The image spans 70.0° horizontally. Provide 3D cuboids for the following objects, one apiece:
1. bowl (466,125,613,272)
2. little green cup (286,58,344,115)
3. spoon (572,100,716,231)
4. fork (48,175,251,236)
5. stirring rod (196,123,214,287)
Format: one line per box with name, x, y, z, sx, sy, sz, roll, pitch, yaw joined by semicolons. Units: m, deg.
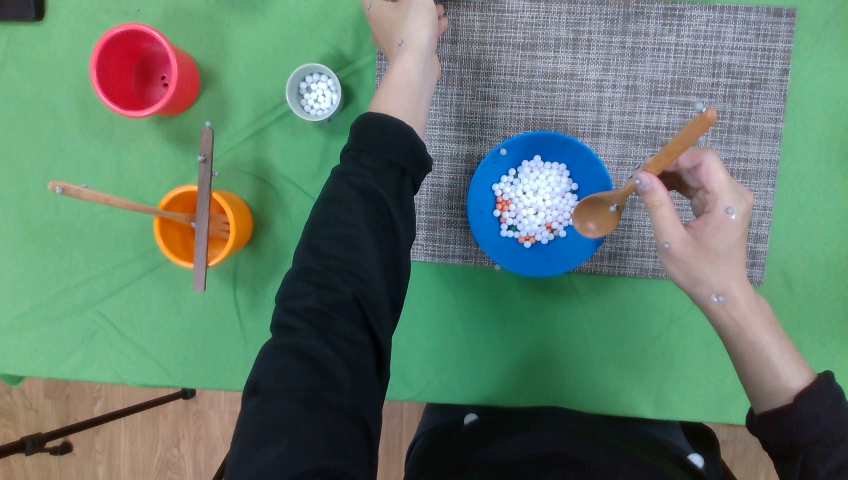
bowl;0.121;-0.046;0.651;0.151;0.076;0.151;1;98;5
little green cup;-0.120;-0.169;0.678;0.061;0.038;0.061;1;98;5
spoon;0.173;-0.053;0.494;0.041;0.194;0.021;42;68;5
fork;-0.286;-0.037;0.653;0.209;0.018;0.028;16;104;-41
stirring rod;-0.233;-0.036;0.646;0.014;0.006;0.176;5;98;6
